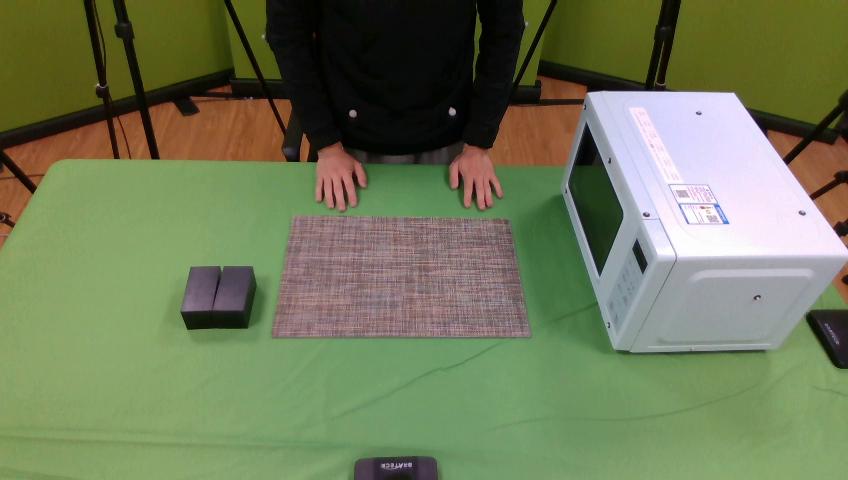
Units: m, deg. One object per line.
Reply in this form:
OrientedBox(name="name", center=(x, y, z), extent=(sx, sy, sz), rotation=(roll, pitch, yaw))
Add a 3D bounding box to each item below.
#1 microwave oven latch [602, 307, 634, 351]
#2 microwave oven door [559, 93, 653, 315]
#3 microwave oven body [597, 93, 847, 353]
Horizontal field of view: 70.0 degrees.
OrientedBox(name="microwave oven latch", center=(0.332, 0.153, 1.043), extent=(0.030, 0.029, 0.078), rotation=(0, 45, -4))
OrientedBox(name="microwave oven door", center=(0.327, -0.074, 1.123), extent=(0.039, 0.245, 0.353), rotation=(-1, 46, -5))
OrientedBox(name="microwave oven body", center=(0.475, -0.041, 1.109), extent=(0.326, 0.261, 0.438), rotation=(-1, 45, -4))
